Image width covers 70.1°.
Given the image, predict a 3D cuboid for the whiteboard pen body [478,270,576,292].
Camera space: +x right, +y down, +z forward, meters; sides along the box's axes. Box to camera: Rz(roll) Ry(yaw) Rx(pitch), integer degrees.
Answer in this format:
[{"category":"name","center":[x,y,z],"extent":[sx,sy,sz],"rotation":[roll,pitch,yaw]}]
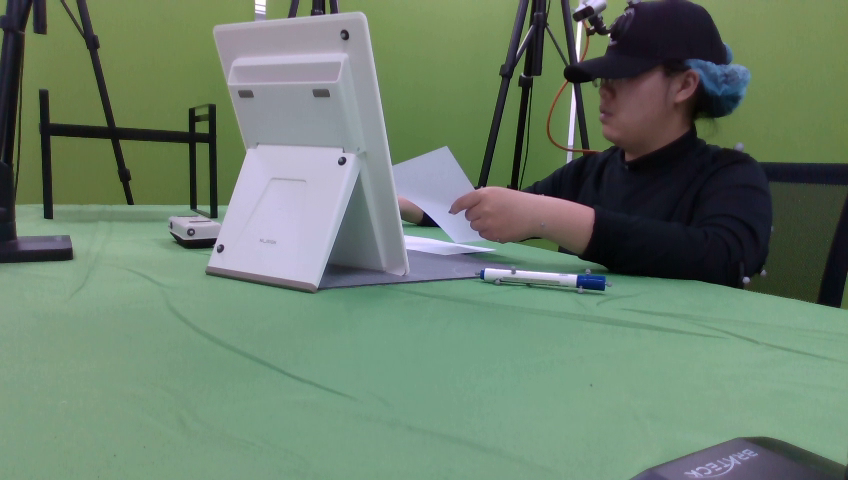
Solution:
[{"category":"whiteboard pen body","center":[0.131,0.048,0.707],"extent":[0.140,0.017,0.017],"rotation":[5,8,17]}]

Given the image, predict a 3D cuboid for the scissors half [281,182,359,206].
[{"category":"scissors half","center":[-0.228,-0.103,1.327],"extent":[0.176,0.013,0.040],"rotation":[15,4,-20]}]

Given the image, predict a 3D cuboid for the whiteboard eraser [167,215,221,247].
[{"category":"whiteboard eraser","center":[-0.350,-0.014,0.920],"extent":[0.056,0.042,0.112],"rotation":[0,7,-35]}]

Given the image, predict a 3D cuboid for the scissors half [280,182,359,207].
[{"category":"scissors half","center":[-0.225,-0.099,1.307],"extent":[0.175,0.013,0.040],"rotation":[16,9,-4]}]

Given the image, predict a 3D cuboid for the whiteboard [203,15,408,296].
[{"category":"whiteboard","center":[-0.166,-0.072,0.669],"extent":[0.216,0.305,0.144],"rotation":[8,30,30]}]

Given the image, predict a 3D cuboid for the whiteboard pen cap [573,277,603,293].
[{"category":"whiteboard pen cap","center":[0.186,0.051,0.687],"extent":[0.033,0.018,0.018],"rotation":[4,7,17]}]
